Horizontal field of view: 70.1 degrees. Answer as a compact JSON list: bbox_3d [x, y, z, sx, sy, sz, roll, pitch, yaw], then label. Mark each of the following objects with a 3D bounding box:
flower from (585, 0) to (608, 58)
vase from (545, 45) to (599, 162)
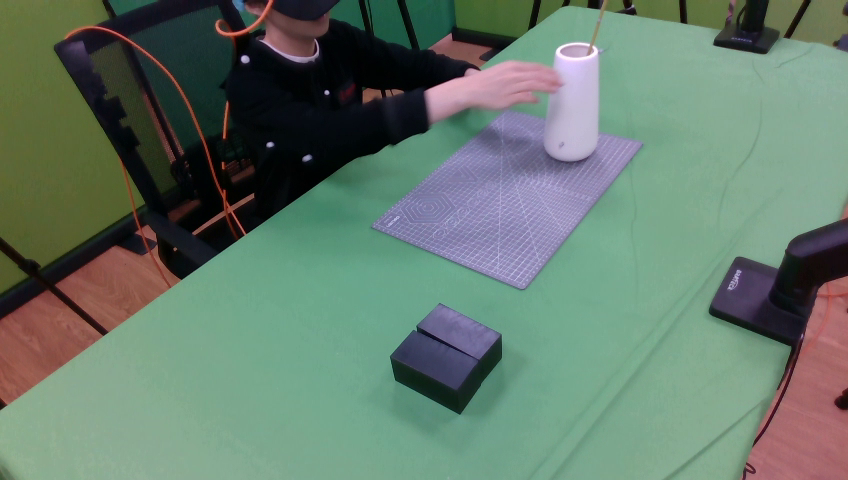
[{"bbox_3d":[0.274,-0.306,1.025,0.038,0.362,0.044,12,36,-1],"label":"flower"},{"bbox_3d":[0.267,-0.238,1.074,0.098,0.201,0.097,-4,42,4],"label":"vase"}]
